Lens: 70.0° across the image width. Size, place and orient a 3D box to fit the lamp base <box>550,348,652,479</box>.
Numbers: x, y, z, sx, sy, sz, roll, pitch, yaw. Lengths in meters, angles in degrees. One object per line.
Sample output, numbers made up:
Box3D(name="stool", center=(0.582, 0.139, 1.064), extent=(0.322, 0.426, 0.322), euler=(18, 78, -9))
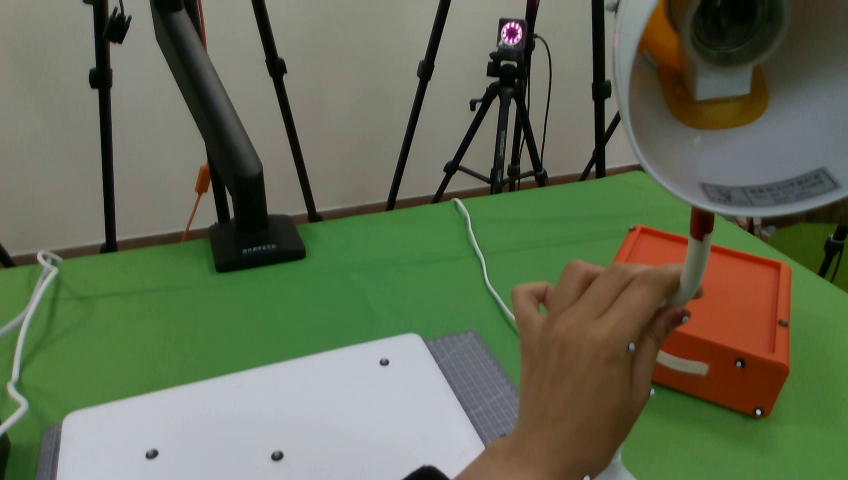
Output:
Box3D(name="lamp base", center=(0.145, 0.180, 0.431), extent=(0.161, 0.181, 0.177), euler=(1, 29, -5))

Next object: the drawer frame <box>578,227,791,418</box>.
Box3D(name="drawer frame", center=(0.311, 0.082, 0.714), extent=(0.200, 0.083, 0.213), euler=(16, 32, 23))

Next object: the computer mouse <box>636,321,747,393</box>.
Box3D(name="computer mouse", center=(0.294, 0.125, 0.666), extent=(0.117, 0.041, 0.062), euler=(17, 32, 14))

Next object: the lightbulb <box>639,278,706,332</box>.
Box3D(name="lightbulb", center=(0.302, 0.082, 0.731), extent=(0.059, 0.060, 0.107), euler=(-3, 15, -9))

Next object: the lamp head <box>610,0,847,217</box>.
Box3D(name="lamp head", center=(0.126, -0.080, 0.245), extent=(0.112, 0.113, 0.122), euler=(5, 27, 3))

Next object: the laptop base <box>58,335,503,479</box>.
Box3D(name="laptop base", center=(-0.128, 0.198, 0.539), extent=(0.355, 0.023, 0.233), euler=(-10, 36, -21))

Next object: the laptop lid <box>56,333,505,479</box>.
Box3D(name="laptop lid", center=(-0.127, 0.190, 0.531), extent=(0.358, 0.013, 0.239), euler=(-9, 35, -19))

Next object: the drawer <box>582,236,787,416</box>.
Box3D(name="drawer", center=(0.311, 0.085, 0.712), extent=(0.193, 0.074, 0.211), euler=(16, 32, 23))
